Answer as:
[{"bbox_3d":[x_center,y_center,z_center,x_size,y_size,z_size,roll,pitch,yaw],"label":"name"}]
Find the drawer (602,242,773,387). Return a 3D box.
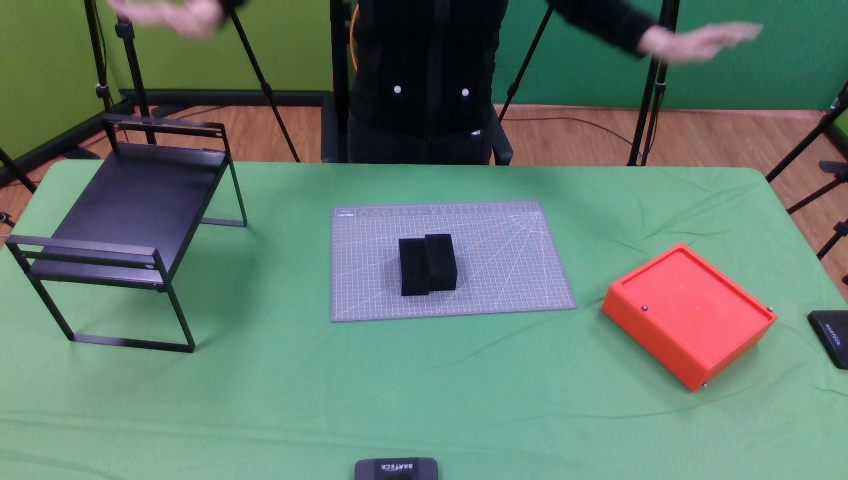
[{"bbox_3d":[0.459,0.125,1.068,0.194,0.073,0.210,-25,54,-26],"label":"drawer"}]

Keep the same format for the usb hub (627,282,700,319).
[{"bbox_3d":[0.435,0.109,1.101,0.125,0.025,0.049,-9,46,-19],"label":"usb hub"}]

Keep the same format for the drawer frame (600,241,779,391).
[{"bbox_3d":[0.462,0.124,1.066,0.202,0.083,0.212,-26,54,-26],"label":"drawer frame"}]
